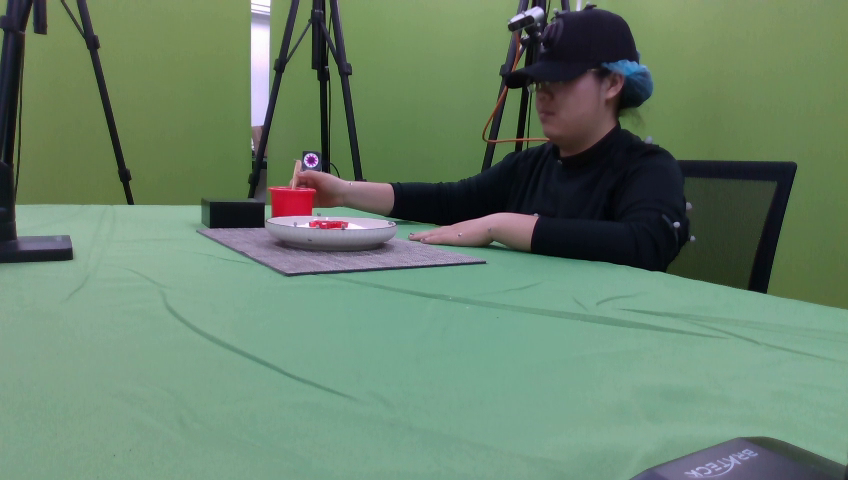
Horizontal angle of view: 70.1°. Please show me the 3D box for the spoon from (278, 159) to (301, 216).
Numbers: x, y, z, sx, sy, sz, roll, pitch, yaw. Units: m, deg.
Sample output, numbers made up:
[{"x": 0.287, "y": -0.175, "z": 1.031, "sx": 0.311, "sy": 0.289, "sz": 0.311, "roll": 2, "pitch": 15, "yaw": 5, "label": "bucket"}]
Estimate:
[{"x": -0.275, "y": -0.108, "z": 1.278, "sx": 0.042, "sy": 0.021, "sz": 0.193, "roll": 2, "pitch": 51, "yaw": -3, "label": "spoon"}]

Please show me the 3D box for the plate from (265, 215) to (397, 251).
[{"x": -0.147, "y": -0.012, "z": 0.963, "sx": 0.209, "sy": 0.038, "sz": 0.209, "roll": 3, "pitch": 7, "yaw": 0, "label": "plate"}]

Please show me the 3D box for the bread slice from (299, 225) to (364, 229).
[{"x": -0.154, "y": -0.012, "z": 0.973, "sx": 0.132, "sy": 0.019, "sz": 0.104, "roll": -1, "pitch": 7, "yaw": -31, "label": "bread slice"}]
